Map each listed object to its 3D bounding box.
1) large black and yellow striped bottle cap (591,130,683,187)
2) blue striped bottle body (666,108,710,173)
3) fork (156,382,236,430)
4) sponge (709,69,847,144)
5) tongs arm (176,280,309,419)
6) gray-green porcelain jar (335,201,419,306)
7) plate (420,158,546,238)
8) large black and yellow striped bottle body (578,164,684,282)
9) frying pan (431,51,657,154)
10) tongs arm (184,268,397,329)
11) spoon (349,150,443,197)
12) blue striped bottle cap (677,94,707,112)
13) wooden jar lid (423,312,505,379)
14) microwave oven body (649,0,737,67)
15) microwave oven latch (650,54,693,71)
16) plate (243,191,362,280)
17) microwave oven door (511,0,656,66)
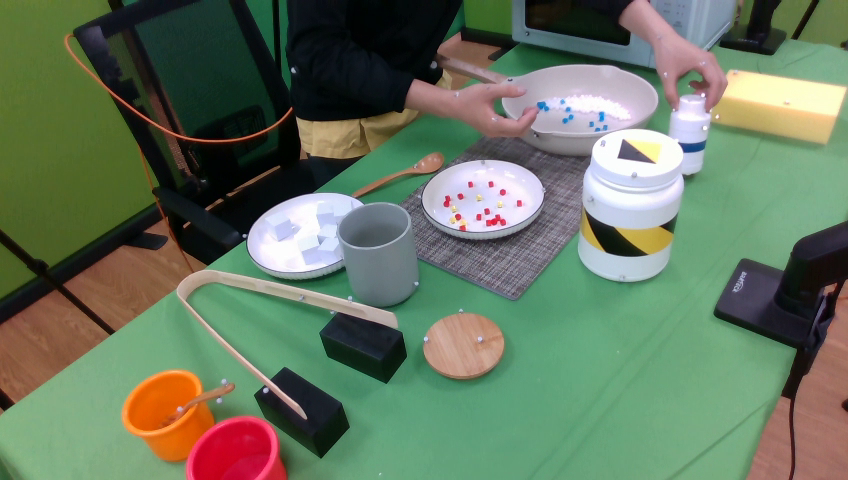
[{"bbox_3d":[0.282,-0.111,0.803,0.115,0.019,0.114,-3,41,3],"label":"large black and yellow striped bottle cap"},{"bbox_3d":[0.441,-0.179,1.015,0.063,0.121,0.063,-2,31,2],"label":"blue striped bottle body"},{"bbox_3d":[-0.262,0.189,0.690,0.018,0.206,0.028,49,43,-7],"label":"fork"},{"bbox_3d":[0.663,-0.256,1.141,0.205,0.061,0.118,19,47,28],"label":"sponge"},{"bbox_3d":[-0.254,0.133,0.801,0.028,0.028,0.384,-41,41,-23],"label":"tongs arm"},{"bbox_3d":[-0.064,0.024,0.872,0.106,0.127,0.105,-4,41,4],"label":"gray-green porcelain jar"},{"bbox_3d":[0.099,-0.067,1.017,0.209,0.038,0.208,-4,40,4],"label":"plate"},{"bbox_3d":[0.292,-0.046,0.859,0.131,0.185,0.130,-4,41,4],"label":"large black and yellow striped bottle body"},{"bbox_3d":[0.215,-0.302,1.223,0.484,0.103,0.308,29,49,24],"label":"frying pan"},{"bbox_3d":[-0.202,0.084,0.848,0.382,0.027,0.051,11,45,35],"label":"tongs arm"},{"bbox_3d":[-0.051,-0.123,1.120,0.194,0.022,0.041,-23,60,-18],"label":"spoon"},{"bbox_3d":[0.438,-0.224,0.989,0.044,0.021,0.044,-1,32,1],"label":"blue striped bottle cap"},{"bbox_3d":[0.053,0.142,0.800,0.108,0.021,0.108,-5,39,4],"label":"wooden jar lid"},{"bbox_3d":[0.475,-0.602,1.411,0.438,0.261,0.327,23,50,32],"label":"microwave oven body"},{"bbox_3d":[0.531,-0.386,1.301,0.078,0.029,0.030,26,51,33],"label":"microwave oven latch"},{"bbox_3d":[-0.188,-0.005,0.992,0.207,0.039,0.206,-4,41,4],"label":"plate"},{"bbox_3d":[0.351,-0.540,1.349,0.353,0.245,0.039,24,50,31],"label":"microwave oven door"}]
